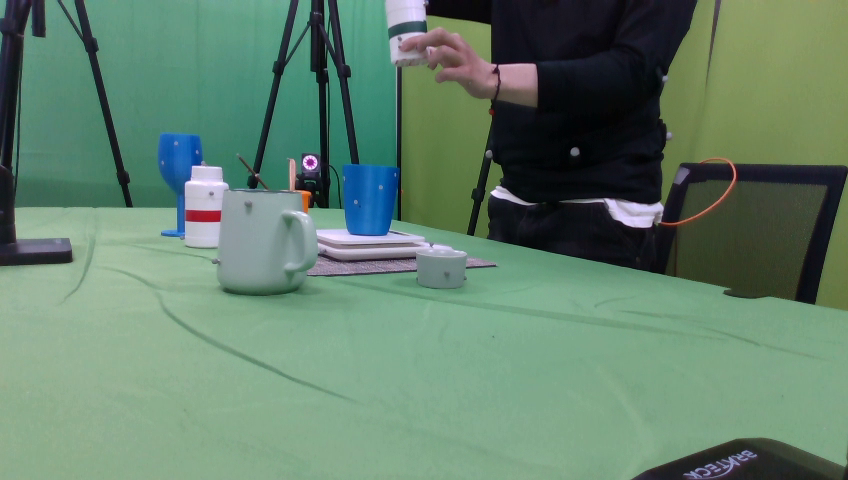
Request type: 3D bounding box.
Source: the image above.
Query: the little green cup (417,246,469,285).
[{"bbox_3d":[0.021,0.029,0.701,0.061,0.038,0.061,1,6,0],"label":"little green cup"}]

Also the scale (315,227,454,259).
[{"bbox_3d":[-0.066,0.001,0.906,0.202,0.031,0.148,-2,8,-31],"label":"scale"}]

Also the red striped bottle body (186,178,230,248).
[{"bbox_3d":[-0.331,-0.050,0.927,0.063,0.119,0.063,2,6,0],"label":"red striped bottle body"}]

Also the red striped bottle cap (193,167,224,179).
[{"bbox_3d":[-0.329,-0.103,0.921,0.044,0.017,0.044,0,9,0],"label":"red striped bottle cap"}]

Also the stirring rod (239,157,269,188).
[{"bbox_3d":[-0.309,-0.098,1.209,0.006,0.177,0.014,-39,29,-4],"label":"stirring rod"}]

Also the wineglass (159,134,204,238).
[{"bbox_3d":[-0.415,-0.093,1.040,0.074,0.172,0.073,2,7,0],"label":"wineglass"}]

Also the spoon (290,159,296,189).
[{"bbox_3d":[-0.273,-0.102,1.252,0.042,0.193,0.021,7,-39,-17],"label":"spoon"}]

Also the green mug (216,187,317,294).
[{"bbox_3d":[-0.157,0.000,0.629,0.124,0.105,0.093,7,9,37],"label":"green mug"}]

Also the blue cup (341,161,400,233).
[{"bbox_3d":[-0.080,-0.062,0.883,0.093,0.100,0.092,3,4,0],"label":"blue cup"}]

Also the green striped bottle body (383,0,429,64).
[{"bbox_3d":[-0.029,-0.342,0.949,0.063,0.119,0.063,-7,5,1],"label":"green striped bottle body"}]
